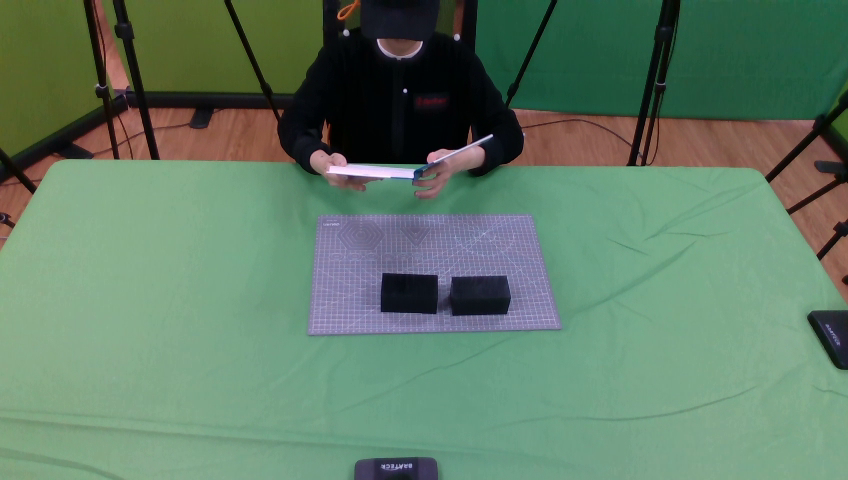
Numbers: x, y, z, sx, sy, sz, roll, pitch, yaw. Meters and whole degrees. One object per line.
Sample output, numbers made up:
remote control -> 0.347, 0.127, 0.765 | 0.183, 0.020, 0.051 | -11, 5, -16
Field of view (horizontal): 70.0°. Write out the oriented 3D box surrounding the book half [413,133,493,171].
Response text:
book half -> 0.053, -0.155, 1.083 | 0.143, 0.007, 0.210 | -24, 4, 7
